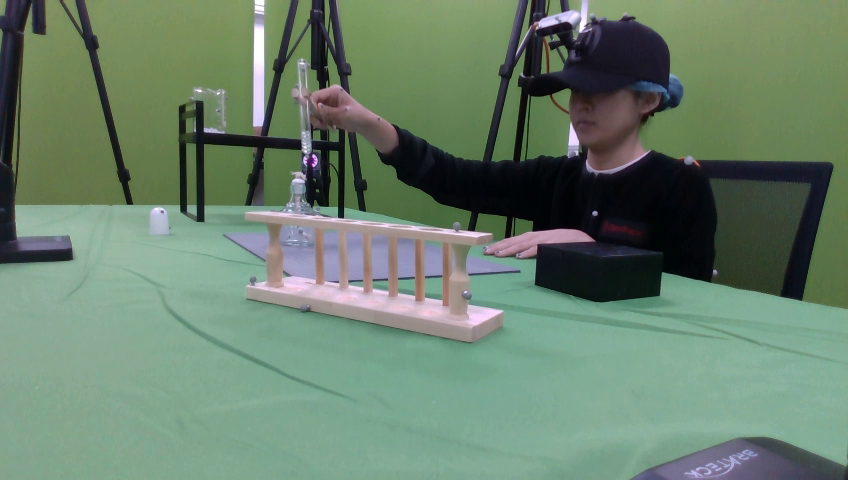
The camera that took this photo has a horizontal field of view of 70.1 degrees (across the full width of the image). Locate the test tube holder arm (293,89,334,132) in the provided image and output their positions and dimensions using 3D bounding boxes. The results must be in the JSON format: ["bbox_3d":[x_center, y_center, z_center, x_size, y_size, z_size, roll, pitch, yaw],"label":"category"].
[{"bbox_3d":[-0.178,-0.209,0.988,0.013,0.015,0.178,0,-7,7],"label":"test tube holder arm"}]

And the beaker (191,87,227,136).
[{"bbox_3d":[-0.476,-0.284,1.345,0.074,0.100,0.083,-3,10,-37],"label":"beaker"}]

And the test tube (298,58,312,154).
[{"bbox_3d":[-0.181,-0.203,0.918,0.017,0.150,0.017,-4,-9,0],"label":"test tube"}]

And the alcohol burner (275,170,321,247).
[{"bbox_3d":[-0.199,-0.050,0.948,0.078,0.119,0.078,1,7,0],"label":"alcohol burner"}]

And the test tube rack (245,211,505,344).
[{"bbox_3d":[-0.049,0.025,0.547,0.241,0.085,0.067,7,8,29],"label":"test tube rack"}]

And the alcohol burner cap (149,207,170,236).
[{"bbox_3d":[-0.445,-0.032,1.019,0.034,0.048,0.034,4,8,0],"label":"alcohol burner cap"}]

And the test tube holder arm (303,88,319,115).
[{"bbox_3d":[-0.176,-0.215,0.943,0.010,0.015,0.088,0,-7,0],"label":"test tube holder arm"}]
